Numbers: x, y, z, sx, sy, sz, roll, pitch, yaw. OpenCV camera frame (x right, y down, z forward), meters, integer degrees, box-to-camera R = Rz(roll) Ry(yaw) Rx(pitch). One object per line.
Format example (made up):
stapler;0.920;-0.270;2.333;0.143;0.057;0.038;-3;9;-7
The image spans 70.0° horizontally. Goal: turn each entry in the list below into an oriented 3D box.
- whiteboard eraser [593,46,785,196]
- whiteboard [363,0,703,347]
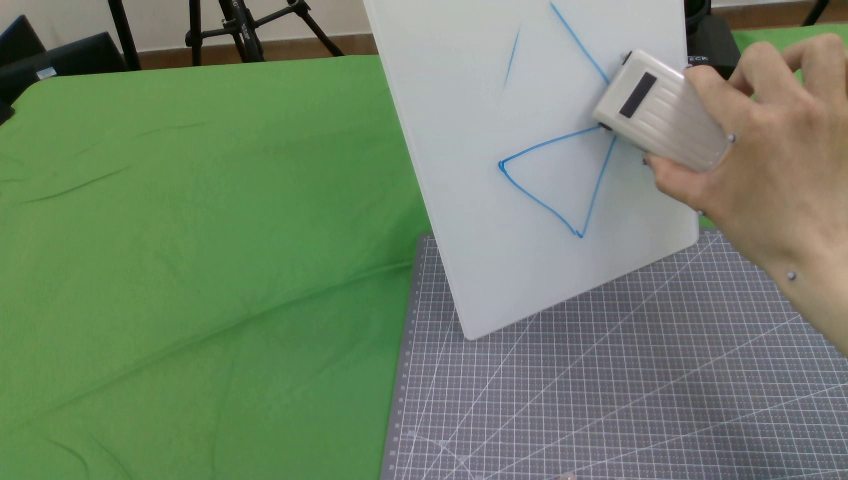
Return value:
whiteboard eraser;0.177;-0.080;0.412;0.112;0.056;0.042;32;18;6
whiteboard;0.074;-0.112;0.478;0.217;0.308;0.142;-22;28;-8
